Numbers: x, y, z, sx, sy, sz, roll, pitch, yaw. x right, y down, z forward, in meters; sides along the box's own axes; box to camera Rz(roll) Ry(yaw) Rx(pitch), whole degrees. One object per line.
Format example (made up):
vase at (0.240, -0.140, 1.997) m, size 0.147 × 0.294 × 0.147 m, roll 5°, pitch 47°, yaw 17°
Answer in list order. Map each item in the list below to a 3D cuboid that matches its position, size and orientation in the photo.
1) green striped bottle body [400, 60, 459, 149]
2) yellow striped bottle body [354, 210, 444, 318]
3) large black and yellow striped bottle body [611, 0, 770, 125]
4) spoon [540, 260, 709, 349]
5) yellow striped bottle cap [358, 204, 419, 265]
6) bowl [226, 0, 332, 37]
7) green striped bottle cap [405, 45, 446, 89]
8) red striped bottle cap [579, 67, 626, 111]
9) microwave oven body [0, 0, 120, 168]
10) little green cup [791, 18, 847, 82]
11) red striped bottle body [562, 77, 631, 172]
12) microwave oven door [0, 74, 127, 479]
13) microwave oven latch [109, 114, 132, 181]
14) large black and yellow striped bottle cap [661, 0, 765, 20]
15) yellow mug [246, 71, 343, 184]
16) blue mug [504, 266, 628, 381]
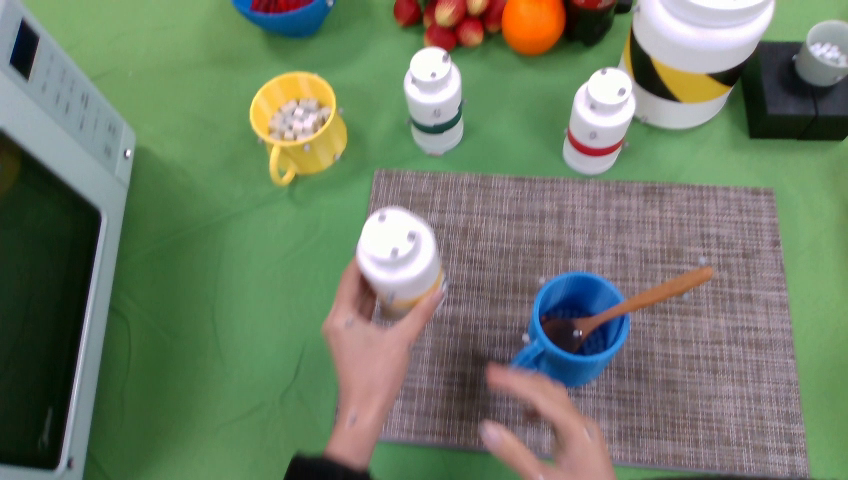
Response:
green striped bottle body at (0.008, -0.160, 0.684) m, size 0.063 × 0.120 × 0.062 m, roll -2°, pitch 66°, yaw 4°
yellow striped bottle body at (-0.020, 0.017, 0.500) m, size 0.063 × 0.121 × 0.062 m, roll -3°, pitch 64°, yaw 7°
large black and yellow striped bottle body at (0.283, -0.226, 0.653) m, size 0.131 × 0.185 × 0.130 m, roll -2°, pitch 66°, yaw 5°
spoon at (0.163, 0.062, 0.531) m, size 0.022 × 0.194 × 0.041 m, roll 6°, pitch 62°, yaw -31°
yellow striped bottle cap at (-0.027, -0.004, 0.454) m, size 0.044 × 0.019 × 0.044 m, roll -2°, pitch 65°, yaw 5°
bowl at (-0.180, -0.323, 0.793) m, size 0.151 × 0.077 × 0.150 m, roll -2°, pitch 67°, yaw 4°
green striped bottle cap at (0.001, -0.182, 0.636) m, size 0.044 × 0.020 × 0.044 m, roll -1°, pitch 67°, yaw 2°
red striped bottle cap at (0.180, -0.152, 0.607) m, size 0.044 × 0.018 × 0.044 m, roll 0°, pitch 65°, yaw 1°
microwave oven body at (-0.514, 0.027, 0.568) m, size 0.326 × 0.262 × 0.438 m, roll -5°, pitch 67°, yaw 2°
little green cup at (0.432, -0.203, 0.654) m, size 0.061 × 0.039 × 0.061 m, roll -1°, pitch 65°, yaw 2°
red striped bottle body at (0.185, -0.130, 0.655) m, size 0.063 × 0.120 × 0.062 m, roll -3°, pitch 65°, yaw 6°
microwave oven door at (-0.366, 0.050, 0.539) m, size 0.039 × 0.246 × 0.353 m, roll -5°, pitch 66°, yaw 4°
microwave oven latch at (-0.369, -0.109, 0.719) m, size 0.030 × 0.030 × 0.078 m, roll -4°, pitch 67°, yaw 3°
large black and yellow striped bottle cap at (0.274, -0.259, 0.576) m, size 0.115 × 0.019 × 0.114 m, roll -2°, pitch 65°, yaw 5°
yellow mug at (-0.156, -0.126, 0.713) m, size 0.099 × 0.064 × 0.130 m, roll 13°, pitch 69°, yaw 10°
blue mug at (0.125, 0.090, 0.569) m, size 0.116 × 0.106 × 0.081 m, roll -31°, pitch 67°, yaw -8°
